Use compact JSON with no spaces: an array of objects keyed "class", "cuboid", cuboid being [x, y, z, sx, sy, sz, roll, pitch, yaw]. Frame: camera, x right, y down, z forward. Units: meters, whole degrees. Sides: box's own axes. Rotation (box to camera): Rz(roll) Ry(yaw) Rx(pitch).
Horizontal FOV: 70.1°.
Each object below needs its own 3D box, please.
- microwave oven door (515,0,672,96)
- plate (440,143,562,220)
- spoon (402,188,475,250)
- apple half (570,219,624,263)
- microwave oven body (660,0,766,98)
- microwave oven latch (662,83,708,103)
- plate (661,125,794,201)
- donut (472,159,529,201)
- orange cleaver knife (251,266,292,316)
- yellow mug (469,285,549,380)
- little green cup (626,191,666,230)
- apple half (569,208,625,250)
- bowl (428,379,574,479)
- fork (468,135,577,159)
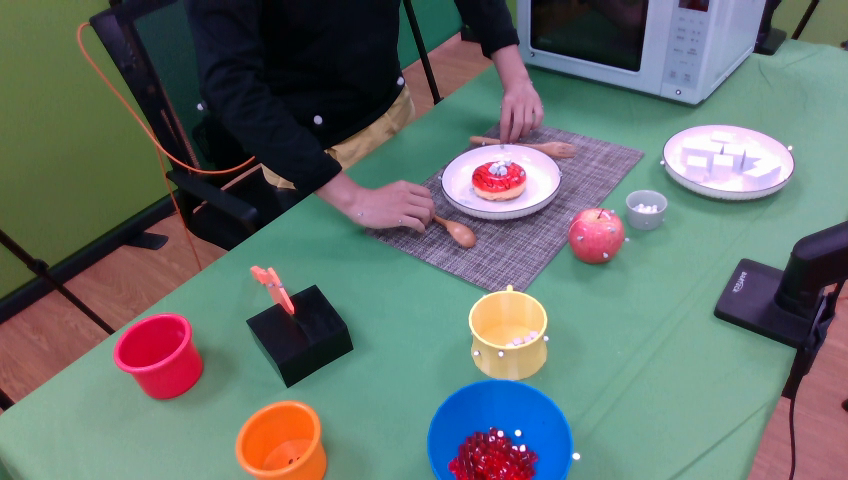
[{"class":"microwave oven door","cuboid":[0.344,-0.455,1.259,0.353,0.245,0.039,26,51,33]},{"class":"plate","cuboid":[0.134,-0.098,1.052,0.209,0.038,0.208,-4,40,4]},{"class":"spoon","cuboid":[0.018,-0.039,1.016,0.042,0.022,0.192,-24,42,-27]},{"class":"apple half","cuboid":[0.250,0.010,0.885,0.081,0.081,0.033,7,39,17]},{"class":"microwave oven body","cuboid":[0.472,-0.513,1.317,0.438,0.261,0.327,26,51,34]},{"class":"microwave oven latch","cuboid":[0.518,-0.297,1.204,0.078,0.029,0.030,28,52,35]},{"class":"plate","cuboid":[0.513,-0.128,1.035,0.207,0.039,0.206,-4,40,4]},{"class":"donut","cuboid":[0.132,-0.105,1.043,0.099,0.048,0.098,-5,38,4]},{"class":"orange cleaver knife","cuboid":[-0.221,0.071,0.873,0.012,0.077,0.210,-25,11,-21]},{"class":"yellow mug","cuboid":[0.112,0.112,0.792,0.100,0.064,0.130,0,40,9]},{"class":"little green cup","cuboid":[0.352,-0.046,0.963,0.061,0.039,0.061,-4,40,4]},{"class":"apple half","cuboid":[0.262,-0.014,0.913,0.080,0.075,0.053,4,37,20]},{"class":"bowl","cuboid":[0.082,0.233,0.644,0.151,0.077,0.150,-4,39,4]},{"class":"fork","cuboid":[0.185,-0.180,1.148,0.206,0.028,0.018,12,34,18]}]
